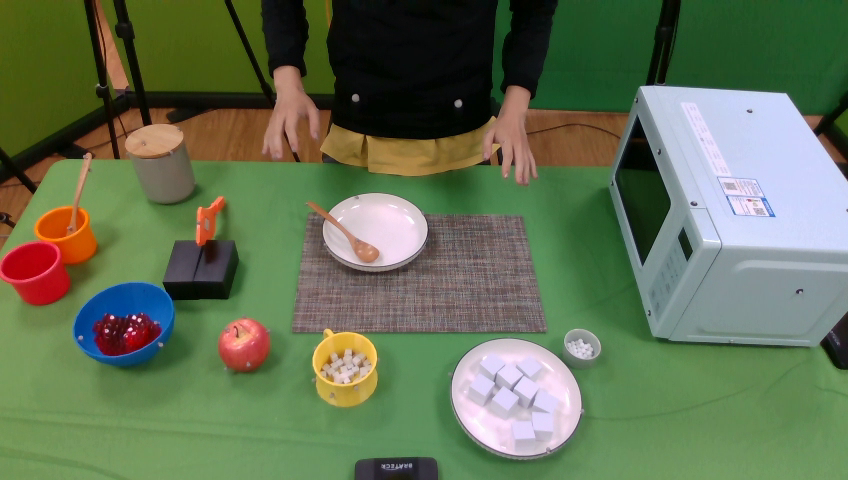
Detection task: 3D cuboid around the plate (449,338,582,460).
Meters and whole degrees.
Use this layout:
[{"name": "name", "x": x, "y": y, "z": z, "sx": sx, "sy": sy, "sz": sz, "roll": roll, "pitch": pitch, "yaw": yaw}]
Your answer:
[{"name": "plate", "x": 0.141, "y": 0.251, "z": 0.956, "sx": 0.208, "sy": 0.039, "sz": 0.206, "roll": 2, "pitch": 46, "yaw": -2}]

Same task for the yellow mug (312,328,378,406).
[{"name": "yellow mug", "x": -0.132, "y": 0.193, "z": 0.971, "sx": 0.100, "sy": 0.064, "sz": 0.130, "roll": -22, "pitch": 51, "yaw": -22}]

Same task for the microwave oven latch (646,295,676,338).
[{"name": "microwave oven latch", "x": 0.412, "y": 0.133, "z": 1.060, "sx": 0.030, "sy": 0.029, "sz": 0.078, "roll": 3, "pitch": 46, "yaw": 0}]

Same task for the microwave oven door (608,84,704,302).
[{"name": "microwave oven door", "x": 0.424, "y": -0.096, "z": 1.138, "sx": 0.039, "sy": 0.245, "sz": 0.353, "roll": 2, "pitch": 46, "yaw": -1}]

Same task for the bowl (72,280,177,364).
[{"name": "bowl", "x": -0.472, "y": 0.147, "z": 0.982, "sx": 0.151, "sy": 0.077, "sz": 0.150, "roll": 2, "pitch": 46, "yaw": -2}]

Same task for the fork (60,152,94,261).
[{"name": "fork", "x": -0.638, "y": -0.063, "z": 1.119, "sx": 0.028, "sy": 0.018, "sz": 0.207, "roll": 12, "pitch": 90, "yaw": 9}]

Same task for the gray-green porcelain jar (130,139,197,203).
[{"name": "gray-green porcelain jar", "x": -0.522, "y": -0.148, "z": 1.224, "sx": 0.106, "sy": 0.127, "sz": 0.105, "roll": 2, "pitch": 46, "yaw": -2}]

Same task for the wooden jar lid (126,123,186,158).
[{"name": "wooden jar lid", "x": -0.519, "y": -0.190, "z": 1.179, "sx": 0.108, "sy": 0.021, "sz": 0.107, "roll": 2, "pitch": 44, "yaw": -2}]

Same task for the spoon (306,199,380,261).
[{"name": "spoon", "x": -0.160, "y": -0.023, "z": 1.170, "sx": 0.193, "sy": 0.022, "sz": 0.041, "roll": 41, "pitch": 64, "yaw": 15}]

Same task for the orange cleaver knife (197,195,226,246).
[{"name": "orange cleaver knife", "x": -0.405, "y": -0.041, "z": 1.157, "sx": 0.012, "sy": 0.077, "sz": 0.210, "roll": 2, "pitch": 14, "yaw": -7}]

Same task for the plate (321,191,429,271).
[{"name": "plate", "x": -0.094, "y": -0.015, "z": 1.185, "sx": 0.209, "sy": 0.038, "sz": 0.208, "roll": 2, "pitch": 46, "yaw": -2}]

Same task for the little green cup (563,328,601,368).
[{"name": "little green cup", "x": 0.265, "y": 0.184, "z": 1.025, "sx": 0.061, "sy": 0.039, "sz": 0.061, "roll": 1, "pitch": 46, "yaw": -1}]

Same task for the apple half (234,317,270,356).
[{"name": "apple half", "x": -0.273, "y": 0.154, "z": 0.992, "sx": 0.081, "sy": 0.081, "sz": 0.033, "roll": 33, "pitch": 56, "yaw": 25}]

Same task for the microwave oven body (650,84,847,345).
[{"name": "microwave oven body", "x": 0.568, "y": -0.054, "z": 1.116, "sx": 0.326, "sy": 0.261, "sz": 0.439, "roll": 2, "pitch": 46, "yaw": -1}]

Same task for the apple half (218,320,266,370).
[{"name": "apple half", "x": -0.298, "y": 0.176, "z": 0.971, "sx": 0.080, "sy": 0.075, "sz": 0.053, "roll": 35, "pitch": 57, "yaw": 22}]
